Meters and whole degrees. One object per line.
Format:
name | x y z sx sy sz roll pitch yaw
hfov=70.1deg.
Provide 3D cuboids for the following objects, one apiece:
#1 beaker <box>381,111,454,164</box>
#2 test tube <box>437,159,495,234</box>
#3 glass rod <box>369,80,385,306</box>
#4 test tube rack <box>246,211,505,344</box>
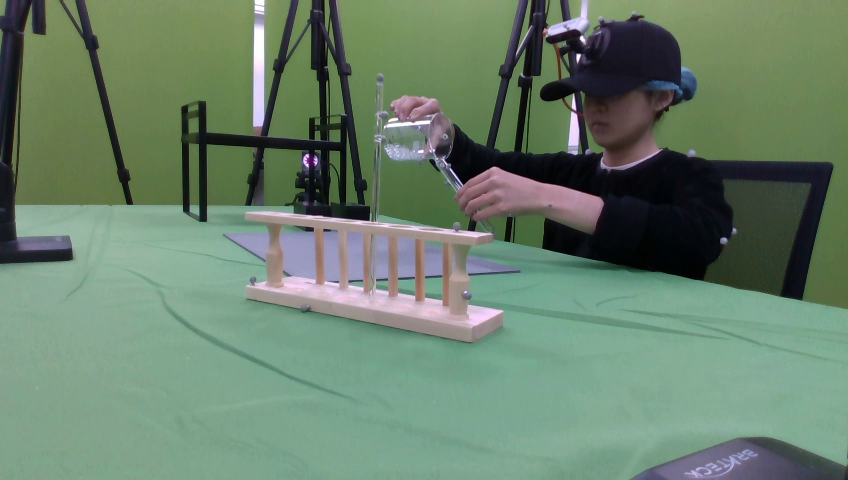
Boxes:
beaker | -0.012 -0.163 0.984 0.100 0.084 0.074 2 2 33
test tube | 0.064 -0.068 0.934 0.017 0.017 0.149 -7 56 -51
glass rod | -0.041 -0.039 0.530 0.008 0.199 0.008 3 2 0
test tube rack | -0.049 0.025 0.547 0.241 0.085 0.067 7 8 29
